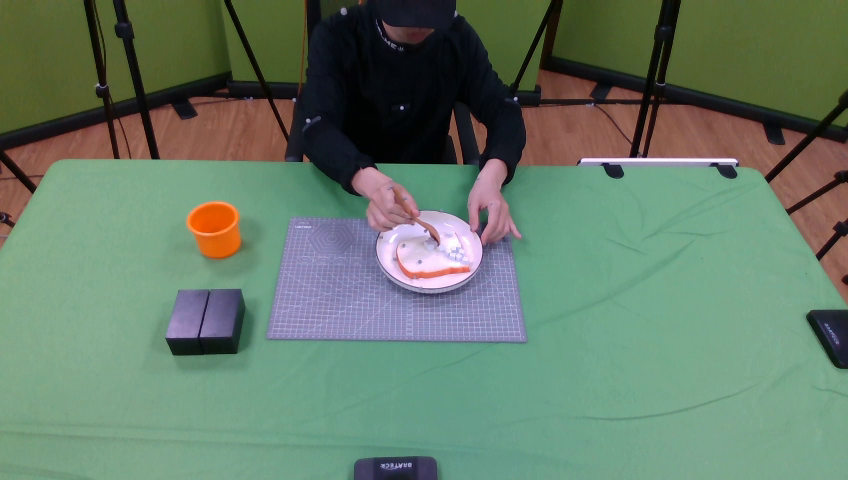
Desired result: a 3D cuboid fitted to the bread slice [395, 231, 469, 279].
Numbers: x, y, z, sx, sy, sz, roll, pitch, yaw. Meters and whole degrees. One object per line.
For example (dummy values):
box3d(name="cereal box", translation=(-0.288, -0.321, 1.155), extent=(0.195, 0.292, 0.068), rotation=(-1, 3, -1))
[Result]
box3d(name="bread slice", translation=(0.011, 0.030, 1.159), extent=(0.132, 0.019, 0.104), rotation=(-9, 47, -14))

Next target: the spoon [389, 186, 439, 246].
box3d(name="spoon", translation=(-0.016, -0.041, 1.091), extent=(0.021, 0.195, 0.041), rotation=(-39, 52, 5))

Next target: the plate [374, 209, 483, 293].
box3d(name="plate", translation=(0.009, 0.024, 1.160), extent=(0.209, 0.038, 0.208), rotation=(2, 46, -2))
